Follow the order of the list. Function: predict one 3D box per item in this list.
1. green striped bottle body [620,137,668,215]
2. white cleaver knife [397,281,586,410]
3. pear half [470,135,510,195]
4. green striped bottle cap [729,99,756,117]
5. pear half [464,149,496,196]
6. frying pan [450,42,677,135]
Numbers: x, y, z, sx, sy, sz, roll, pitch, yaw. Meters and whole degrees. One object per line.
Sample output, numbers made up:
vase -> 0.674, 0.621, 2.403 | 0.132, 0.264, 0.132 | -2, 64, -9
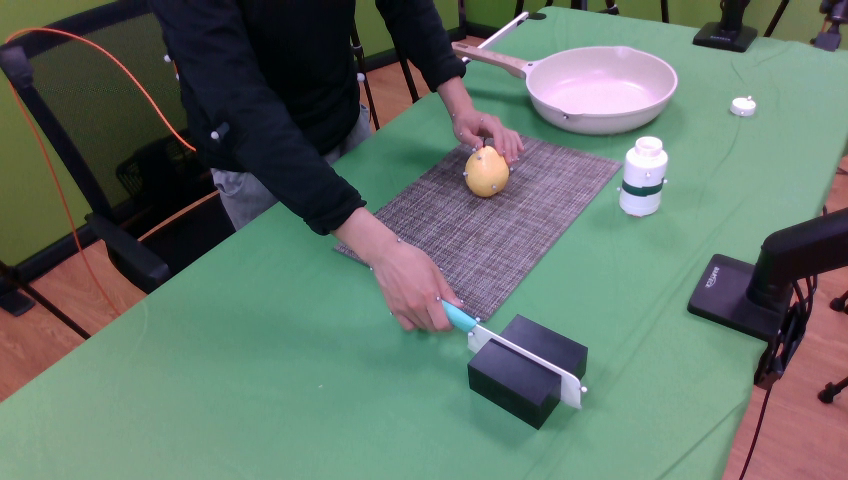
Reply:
green striped bottle body -> 0.350, -0.103, 0.963 | 0.063, 0.120, 0.063 | -4, 41, 4
white cleaver knife -> 0.074, 0.131, 0.770 | 0.284, 0.066, 0.021 | 28, 44, 31
pear half -> 0.115, -0.136, 1.036 | 0.076, 0.110, 0.056 | 30, 51, 31
green striped bottle cap -> 0.623, -0.259, 1.182 | 0.044, 0.020, 0.044 | -3, 40, 3
pear half -> 0.090, -0.110, 1.025 | 0.070, 0.088, 0.031 | 30, 52, 31
frying pan -> 0.268, -0.344, 1.266 | 0.485, 0.103, 0.307 | 26, 49, 21
